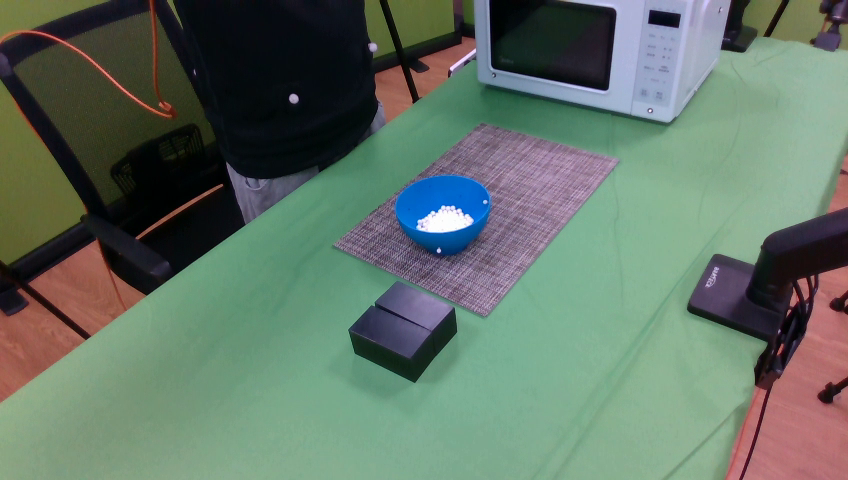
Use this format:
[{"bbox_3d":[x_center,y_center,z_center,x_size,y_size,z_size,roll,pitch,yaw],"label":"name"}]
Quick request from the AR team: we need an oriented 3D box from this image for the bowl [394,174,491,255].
[{"bbox_3d":[0.032,-0.030,0.949,0.151,0.077,0.150,-4,40,4],"label":"bowl"}]

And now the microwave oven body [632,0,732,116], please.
[{"bbox_3d":[0.377,-0.463,1.267,0.438,0.261,0.327,21,49,30],"label":"microwave oven body"}]

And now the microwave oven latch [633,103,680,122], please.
[{"bbox_3d":[0.443,-0.249,1.157,0.078,0.029,0.030,21,49,30],"label":"microwave oven latch"}]

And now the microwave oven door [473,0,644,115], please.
[{"bbox_3d":[0.257,-0.396,1.199,0.353,0.245,0.039,21,48,29],"label":"microwave oven door"}]
